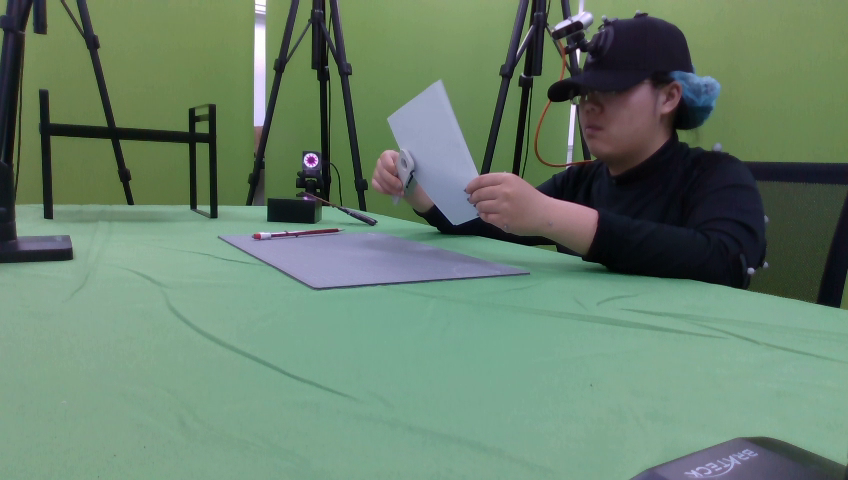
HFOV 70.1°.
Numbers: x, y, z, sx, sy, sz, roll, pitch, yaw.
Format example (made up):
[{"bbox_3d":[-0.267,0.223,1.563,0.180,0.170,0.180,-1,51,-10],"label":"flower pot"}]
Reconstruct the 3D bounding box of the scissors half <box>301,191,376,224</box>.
[{"bbox_3d":[-0.189,-0.073,1.333,0.175,0.013,0.040,22,11,-10],"label":"scissors half"}]

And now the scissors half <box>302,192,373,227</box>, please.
[{"bbox_3d":[-0.191,-0.068,1.314,0.175,0.013,0.040,26,16,7],"label":"scissors half"}]

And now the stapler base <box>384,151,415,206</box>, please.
[{"bbox_3d":[-0.036,-0.106,1.022,0.024,0.041,0.130,-18,-18,-26],"label":"stapler base"}]

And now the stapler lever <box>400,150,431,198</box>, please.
[{"bbox_3d":[-0.019,-0.113,1.032,0.040,0.027,0.118,-19,-17,-22],"label":"stapler lever"}]

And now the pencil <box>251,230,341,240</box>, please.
[{"bbox_3d":[-0.215,-0.011,1.049,0.012,0.012,0.195,9,9,39],"label":"pencil"}]
